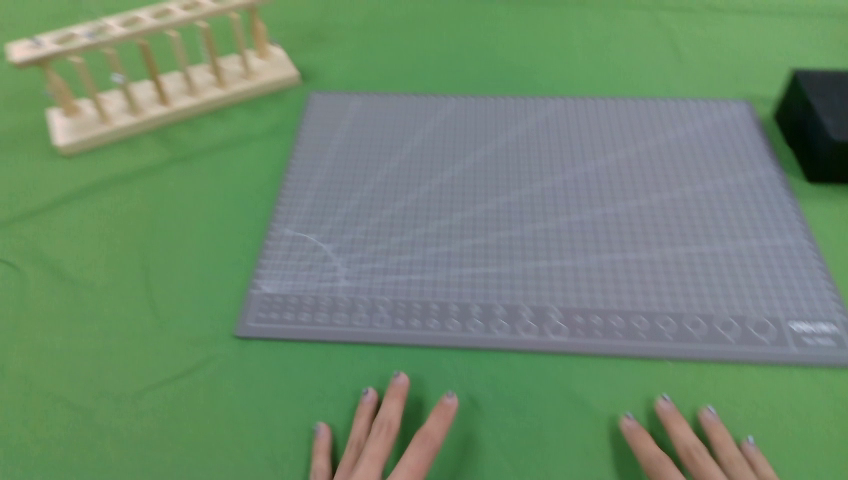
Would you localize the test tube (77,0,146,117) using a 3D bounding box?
[{"bbox_3d":[-0.284,-0.175,0.544,0.017,0.152,0.017,-1,48,1],"label":"test tube"}]

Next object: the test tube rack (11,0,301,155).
[{"bbox_3d":[-0.254,-0.173,0.601,0.243,0.086,0.066,-22,52,-17],"label":"test tube rack"}]

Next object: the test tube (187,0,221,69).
[{"bbox_3d":[-0.222,-0.234,0.586,0.017,0.151,0.017,0,48,0],"label":"test tube"}]
